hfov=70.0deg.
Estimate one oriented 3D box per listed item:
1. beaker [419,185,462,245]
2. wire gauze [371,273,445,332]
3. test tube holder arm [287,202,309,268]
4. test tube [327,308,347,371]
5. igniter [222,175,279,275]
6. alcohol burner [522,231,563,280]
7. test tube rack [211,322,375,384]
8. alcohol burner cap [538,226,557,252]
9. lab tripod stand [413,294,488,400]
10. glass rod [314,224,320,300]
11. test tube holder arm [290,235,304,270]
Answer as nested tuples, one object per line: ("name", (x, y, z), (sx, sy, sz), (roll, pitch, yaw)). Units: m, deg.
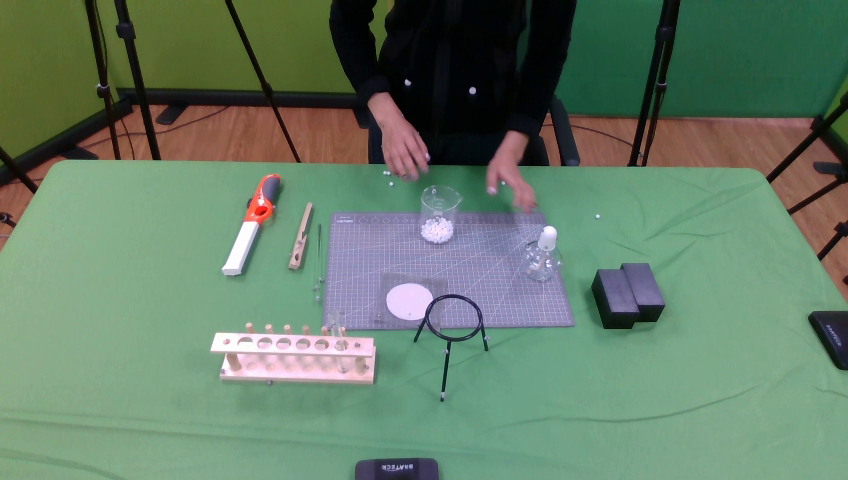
("beaker", (0.029, -0.047, 1.191), (0.084, 0.101, 0.073), (-6, 47, -10))
("wire gauze", (-0.028, 0.108, 1.100), (0.125, 0.011, 0.121), (7, 45, 4))
("test tube holder arm", (-0.247, -0.013, 1.193), (0.013, 0.015, 0.177), (29, 39, -26))
("test tube", (-0.132, 0.155, 0.926), (0.017, 0.151, 0.017), (0, 45, 0))
("igniter", (-0.342, -0.039, 1.206), (0.057, 0.025, 0.275), (-1, 45, 9))
("alcohol burner", (0.224, 0.020, 1.131), (0.078, 0.119, 0.077), (4, 46, -4))
("test tube rack", (-0.203, 0.176, 0.969), (0.242, 0.085, 0.066), (3, 46, -2))
("alcohol burner cap", (0.226, -0.004, 1.104), (0.034, 0.048, 0.033), (-1, 50, 1))
("lab tripod stand", (0.044, 0.159, 0.972), (0.148, 0.132, 0.147), (2, 44, -2))
("glass rod", (-0.204, 0.038, 1.156), (0.008, 0.008, 0.198), (-2, 44, -6))
("test tube holder arm", (-0.243, 0.021, 1.164), (0.010, 0.015, 0.087), (29, 39, -25))
